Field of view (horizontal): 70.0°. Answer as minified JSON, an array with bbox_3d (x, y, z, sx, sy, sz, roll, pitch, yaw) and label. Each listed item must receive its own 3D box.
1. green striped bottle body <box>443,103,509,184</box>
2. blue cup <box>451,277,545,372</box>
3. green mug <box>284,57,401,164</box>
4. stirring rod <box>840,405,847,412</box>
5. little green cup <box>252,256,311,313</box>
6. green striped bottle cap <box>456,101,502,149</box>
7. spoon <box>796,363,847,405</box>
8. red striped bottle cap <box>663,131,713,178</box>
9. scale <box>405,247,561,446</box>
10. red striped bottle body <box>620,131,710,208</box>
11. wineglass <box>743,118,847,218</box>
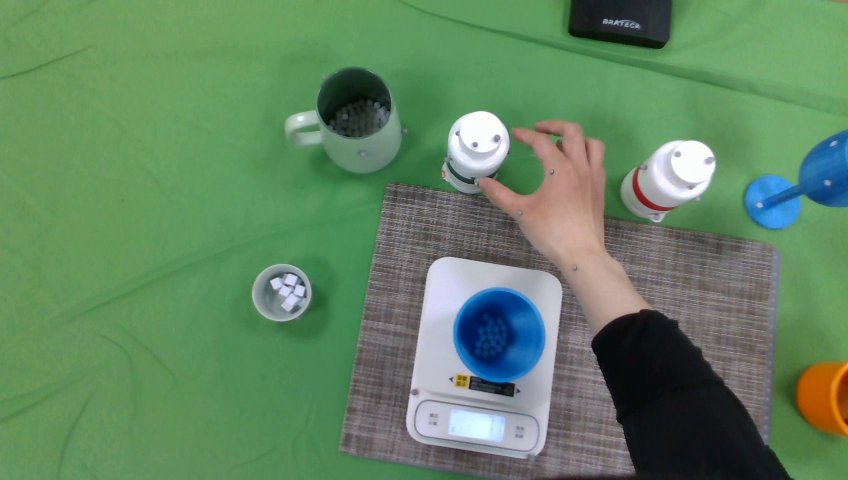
[{"bbox_3d":[0.054,-0.104,0.644,0.063,0.119,0.063,0,81,-1],"label":"green striped bottle body"},{"bbox_3d":[0.064,0.081,0.591,0.093,0.100,0.092,0,84,-3],"label":"blue cup"},{"bbox_3d":[-0.088,-0.134,0.653,0.125,0.105,0.092,-13,82,-3],"label":"green mug"},{"bbox_3d":[0.465,0.118,0.607,0.014,0.177,0.006,15,40,14],"label":"stirring rod"},{"bbox_3d":[-0.151,0.049,0.656,0.061,0.039,0.061,0,81,-3],"label":"little green cup"},{"bbox_3d":[0.054,-0.113,0.593,0.044,0.020,0.044,0,79,-2],"label":"green striped bottle cap"},{"bbox_3d":[0.475,0.172,0.599,0.022,0.192,0.041,25,88,-41],"label":"spoon"},{"bbox_3d":[0.259,-0.084,0.592,0.044,0.018,0.044,0,77,-1],"label":"red striped bottle cap"},{"bbox_3d":[0.065,0.113,0.652,0.149,0.031,0.200,8,82,0],"label":"scale"},{"bbox_3d":[0.258,-0.076,0.645,0.063,0.120,0.063,0,81,-1],"label":"red striped bottle body"},{"bbox_3d":[0.403,-0.071,0.621,0.074,0.172,0.073,0,81,-1],"label":"wineglass"}]
